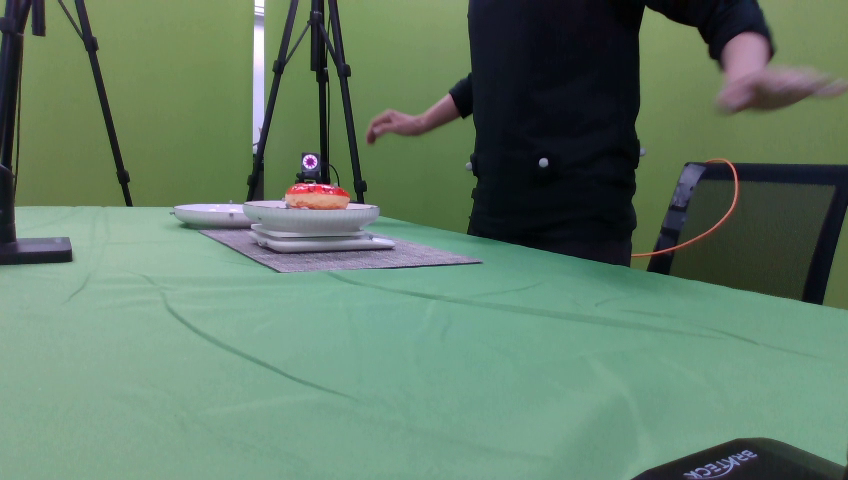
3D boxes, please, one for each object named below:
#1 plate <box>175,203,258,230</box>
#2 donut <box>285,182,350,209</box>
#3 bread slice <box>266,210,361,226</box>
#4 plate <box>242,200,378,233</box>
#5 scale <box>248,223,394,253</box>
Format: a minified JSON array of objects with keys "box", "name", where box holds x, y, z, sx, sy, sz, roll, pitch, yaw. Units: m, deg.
[{"box":[-0.381,-0.047,1.199,0.208,0.039,0.207,3,7,0],"name":"plate"},{"box":[-0.165,-0.065,0.938,0.099,0.048,0.099,3,3,0],"name":"donut"},{"box":[-0.174,-0.035,0.934,0.132,0.019,0.104,-1,6,-28],"name":"bread slice"},{"box":[-0.176,-0.038,0.939,0.209,0.038,0.209,3,7,0],"name":"plate"},{"box":[-0.162,-0.006,0.954,0.202,0.031,0.148,-2,9,-32],"name":"scale"}]
